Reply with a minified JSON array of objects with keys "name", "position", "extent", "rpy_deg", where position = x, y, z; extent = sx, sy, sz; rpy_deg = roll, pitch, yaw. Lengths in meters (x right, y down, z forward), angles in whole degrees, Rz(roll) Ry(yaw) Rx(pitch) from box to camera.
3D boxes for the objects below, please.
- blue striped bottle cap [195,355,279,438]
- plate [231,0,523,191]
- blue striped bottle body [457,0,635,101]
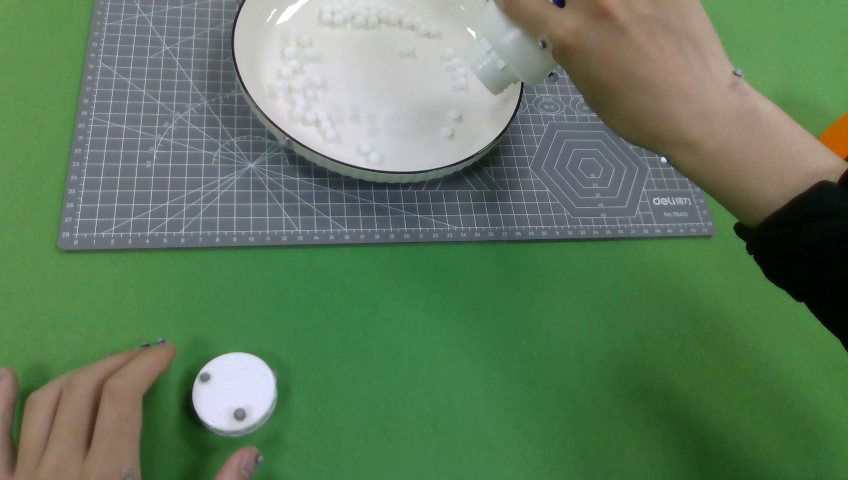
[{"name":"blue striped bottle cap","position":[-0.104,0.087,0.338],"extent":[0.045,0.021,0.044],"rpy_deg":[4,66,-9]},{"name":"plate","position":[-0.031,-0.121,0.444],"extent":[0.208,0.039,0.206],"rpy_deg":[5,62,-10]},{"name":"blue striped bottle body","position":[0.078,-0.146,0.398],"extent":[0.121,0.063,0.062],"rpy_deg":[-40,72,19]}]
